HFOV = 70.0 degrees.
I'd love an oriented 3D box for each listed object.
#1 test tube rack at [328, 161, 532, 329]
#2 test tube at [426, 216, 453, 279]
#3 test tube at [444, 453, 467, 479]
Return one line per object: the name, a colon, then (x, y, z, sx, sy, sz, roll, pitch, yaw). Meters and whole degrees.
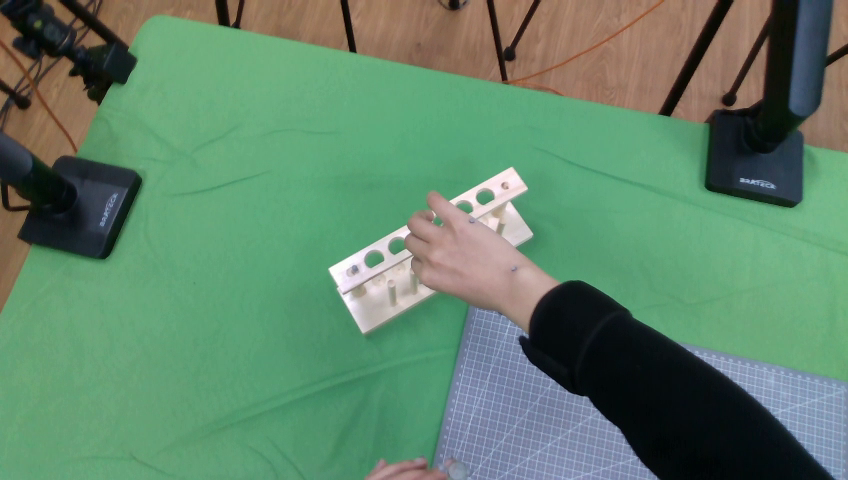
test tube rack: (0.015, 0.007, 0.711, 0.242, 0.086, 0.066, -30, 73, -11)
test tube: (0.016, 0.011, 0.662, 0.017, 0.151, 0.017, 2, 66, -4)
test tube: (0.026, 0.205, 0.524, 0.017, 0.151, 0.017, 0, 61, 0)
